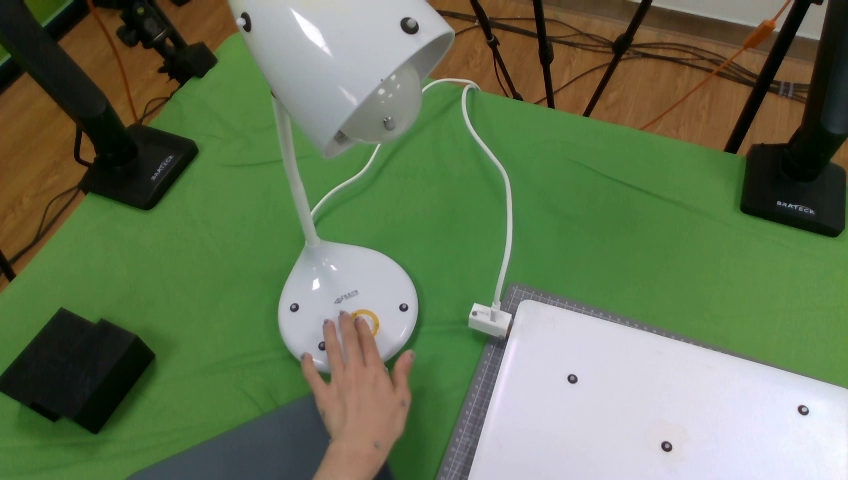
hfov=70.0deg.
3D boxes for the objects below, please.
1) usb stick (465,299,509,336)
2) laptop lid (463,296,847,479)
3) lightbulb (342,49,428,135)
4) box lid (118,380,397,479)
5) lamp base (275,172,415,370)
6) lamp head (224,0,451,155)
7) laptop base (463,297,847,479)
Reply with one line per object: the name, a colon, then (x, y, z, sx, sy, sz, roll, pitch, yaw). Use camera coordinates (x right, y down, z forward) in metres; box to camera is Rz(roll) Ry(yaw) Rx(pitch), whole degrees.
usb stick: (0.076, 0.088, 0.671, 0.059, 0.027, 0.021, 19, 54, 10)
laptop lid: (0.234, 0.199, 0.594, 0.355, 0.013, 0.240, 16, 61, 12)
lightbulb: (-0.035, -0.117, 0.364, 0.059, 0.059, 0.108, -19, 97, -11)
box lid: (-0.120, 0.325, 0.539, 0.263, 0.015, 0.367, -23, 60, -13)
lamp base: (-0.101, 0.023, 0.637, 0.160, 0.182, 0.177, -36, 60, -20)
lamp head: (-0.063, -0.129, 0.372, 0.123, 0.112, 0.112, 45, 66, 1)
laptop base: (0.235, 0.203, 0.605, 0.353, 0.023, 0.234, 15, 62, 11)
